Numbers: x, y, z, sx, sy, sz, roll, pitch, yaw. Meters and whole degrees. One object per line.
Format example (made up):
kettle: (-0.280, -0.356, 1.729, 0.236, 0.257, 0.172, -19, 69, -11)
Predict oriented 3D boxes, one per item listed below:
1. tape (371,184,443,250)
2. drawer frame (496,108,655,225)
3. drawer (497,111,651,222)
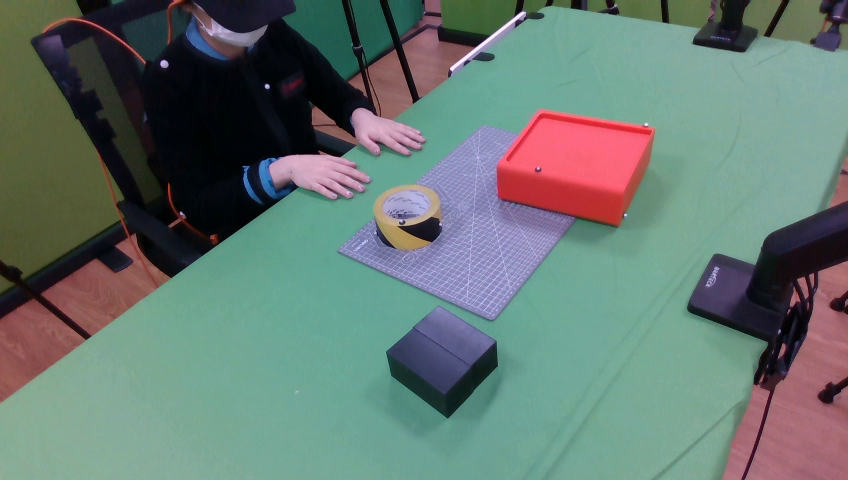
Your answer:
tape: (-0.028, -0.039, 0.990, 0.117, 0.053, 0.116, -4, 40, 4)
drawer frame: (0.259, -0.132, 1.034, 0.212, 0.083, 0.202, 16, 45, 24)
drawer: (0.257, -0.131, 1.035, 0.210, 0.073, 0.195, 16, 45, 24)
